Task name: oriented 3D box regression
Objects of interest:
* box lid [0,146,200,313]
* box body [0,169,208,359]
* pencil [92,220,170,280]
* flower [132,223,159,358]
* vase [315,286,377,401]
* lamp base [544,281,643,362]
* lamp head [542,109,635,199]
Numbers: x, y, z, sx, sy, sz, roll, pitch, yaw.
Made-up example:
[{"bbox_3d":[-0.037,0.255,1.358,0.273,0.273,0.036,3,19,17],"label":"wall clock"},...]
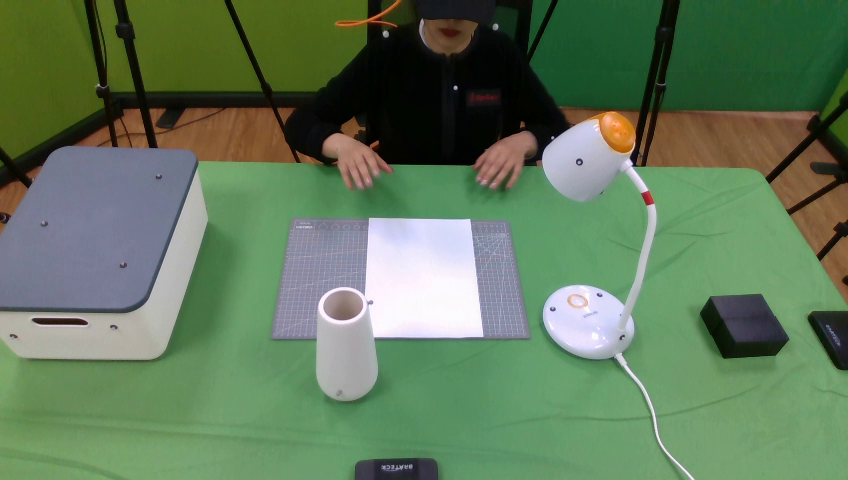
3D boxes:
[{"bbox_3d":[-0.536,-0.034,0.989,0.263,0.015,0.369,1,46,-3],"label":"box lid"},{"bbox_3d":[-0.541,0.021,1.042,0.254,0.161,0.361,1,46,-3],"label":"box body"},{"bbox_3d":[-0.552,0.015,1.153,0.012,0.012,0.193,20,42,15],"label":"pencil"},{"bbox_3d":[-0.505,0.073,1.095,0.044,0.038,0.359,-40,42,9],"label":"flower"},{"bbox_3d":[-0.119,0.159,0.911,0.098,0.201,0.097,2,47,-2],"label":"vase"},{"bbox_3d":[0.304,0.095,1.014,0.161,0.181,0.178,-24,54,-24],"label":"lamp base"},{"bbox_3d":[0.253,-0.131,0.893,0.113,0.123,0.112,10,66,-24],"label":"lamp head"}]
